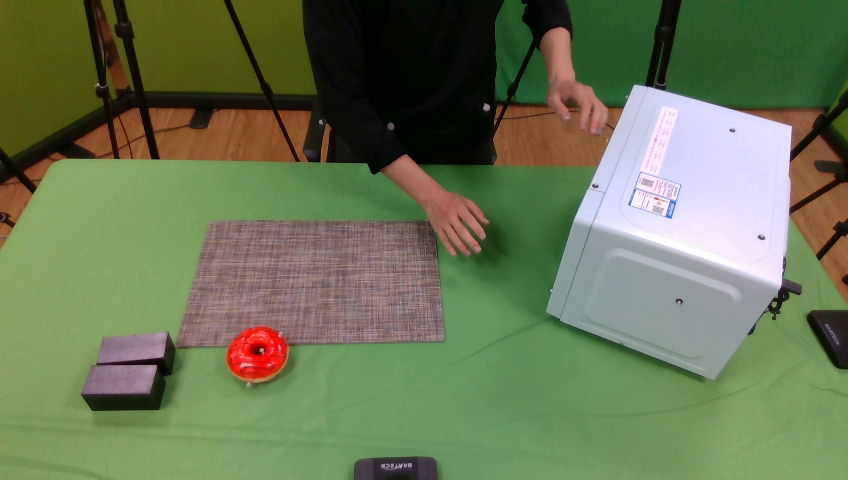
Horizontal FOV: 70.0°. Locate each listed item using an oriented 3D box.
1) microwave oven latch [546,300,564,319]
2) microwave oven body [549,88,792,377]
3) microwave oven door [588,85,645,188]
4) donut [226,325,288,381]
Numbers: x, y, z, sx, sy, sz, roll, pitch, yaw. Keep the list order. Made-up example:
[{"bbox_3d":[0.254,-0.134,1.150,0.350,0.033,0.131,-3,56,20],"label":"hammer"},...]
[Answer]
[{"bbox_3d":[0.242,0.102,1.081,0.030,0.029,0.079,22,48,17],"label":"microwave oven latch"},{"bbox_3d":[0.456,-0.028,1.088,0.325,0.261,0.440,20,47,16],"label":"microwave oven body"},{"bbox_3d":[0.342,-0.107,1.149,0.039,0.245,0.354,21,48,15],"label":"microwave oven door"},{"bbox_3d":[-0.270,0.182,0.984,0.099,0.048,0.098,5,49,-5],"label":"donut"}]
